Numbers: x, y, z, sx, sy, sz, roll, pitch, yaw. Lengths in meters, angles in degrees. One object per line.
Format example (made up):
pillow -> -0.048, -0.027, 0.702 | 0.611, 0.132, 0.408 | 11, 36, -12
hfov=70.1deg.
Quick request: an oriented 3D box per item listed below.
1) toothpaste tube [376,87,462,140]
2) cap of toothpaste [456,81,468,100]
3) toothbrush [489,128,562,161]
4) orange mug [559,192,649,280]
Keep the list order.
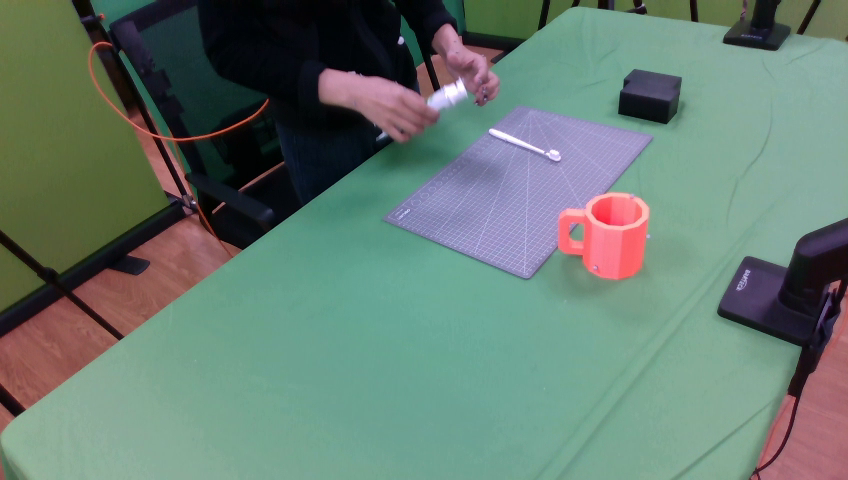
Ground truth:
toothpaste tube -> -0.008, -0.215, 1.036 | 0.165, 0.034, 0.055 | -27, 4, 12
cap of toothpaste -> 0.063, -0.251, 1.017 | 0.011, 0.037, 0.037 | -23, 41, 2
toothbrush -> 0.191, -0.188, 1.167 | 0.014, 0.017, 0.180 | -44, 48, -17
orange mug -> 0.261, -0.008, 0.884 | 0.126, 0.101, 0.083 | 9, 43, 14
